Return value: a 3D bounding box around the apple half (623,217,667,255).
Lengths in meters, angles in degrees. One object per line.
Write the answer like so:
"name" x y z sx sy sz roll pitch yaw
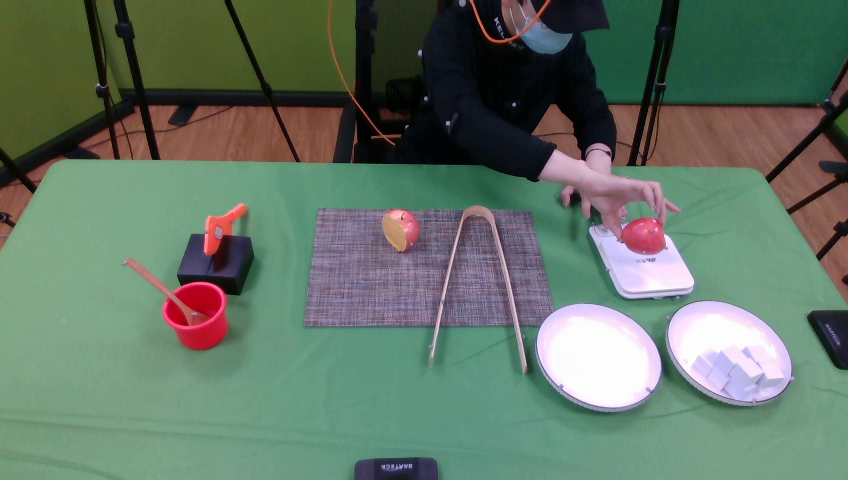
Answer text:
"apple half" 0.400 0.000 1.102 0.081 0.081 0.032 19 32 14

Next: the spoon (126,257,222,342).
"spoon" -0.408 0.096 0.990 0.194 0.021 0.041 50 53 -18

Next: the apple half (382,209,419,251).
"apple half" -0.039 -0.022 1.175 0.053 0.075 0.080 -27 50 -31

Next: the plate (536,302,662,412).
"plate" 0.288 0.197 1.016 0.209 0.038 0.208 2 46 -2

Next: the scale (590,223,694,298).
"scale" 0.424 0.031 1.189 0.149 0.032 0.199 -3 46 -7

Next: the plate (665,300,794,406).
"plate" 0.513 0.194 1.033 0.208 0.039 0.206 2 46 -2

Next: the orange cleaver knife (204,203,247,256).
"orange cleaver knife" -0.374 -0.024 1.146 0.012 0.077 0.211 4 14 1

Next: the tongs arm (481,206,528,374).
"tongs arm" 0.149 0.077 1.124 0.028 0.028 0.385 -4 46 -2

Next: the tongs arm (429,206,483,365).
"tongs arm" 0.064 0.069 1.124 0.051 0.026 0.382 8 46 5
